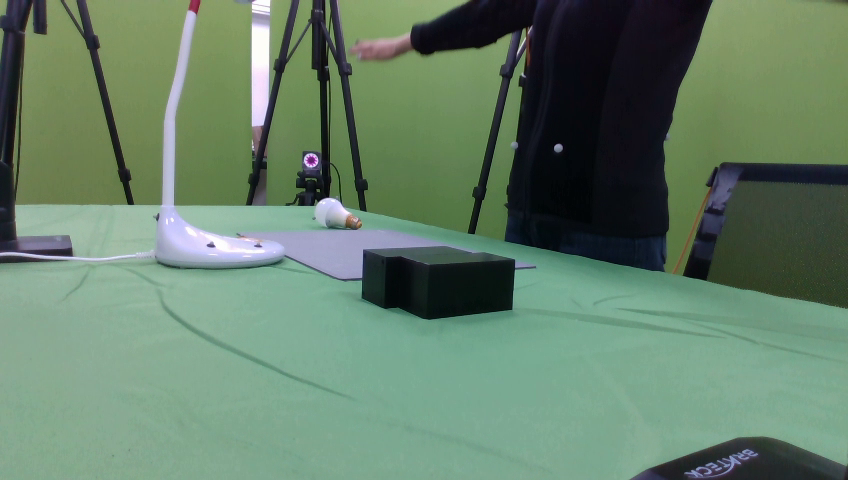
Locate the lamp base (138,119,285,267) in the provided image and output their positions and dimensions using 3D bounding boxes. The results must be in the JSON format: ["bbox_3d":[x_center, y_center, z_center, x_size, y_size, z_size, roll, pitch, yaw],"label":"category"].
[{"bbox_3d":[-0.271,-0.061,0.772,0.180,0.180,0.160,-7,12,-39],"label":"lamp base"}]

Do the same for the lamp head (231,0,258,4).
[{"bbox_3d":[-0.257,-0.377,0.773,0.112,0.112,0.123,5,-2,26],"label":"lamp head"}]

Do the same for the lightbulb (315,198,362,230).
[{"bbox_3d":[-0.171,-0.048,1.220,0.107,0.059,0.060,22,15,22],"label":"lightbulb"}]
